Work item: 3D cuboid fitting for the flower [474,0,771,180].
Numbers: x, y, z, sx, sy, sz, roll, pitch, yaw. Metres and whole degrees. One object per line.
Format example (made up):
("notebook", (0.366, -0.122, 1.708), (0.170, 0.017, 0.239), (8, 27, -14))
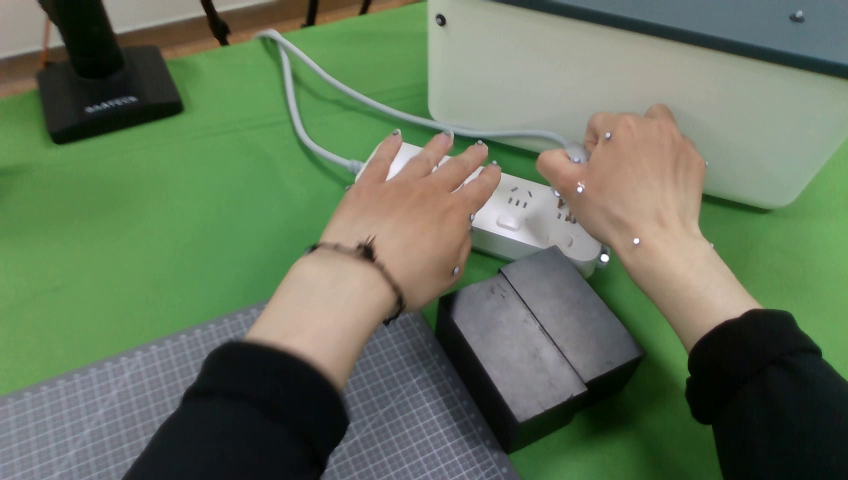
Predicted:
("flower", (0.197, -0.167, 0.635), (0.359, 0.038, 0.044), (40, 82, 18))

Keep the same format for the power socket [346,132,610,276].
("power socket", (0.046, -0.033, 0.506), (0.226, 0.033, 0.072), (19, 51, 12))

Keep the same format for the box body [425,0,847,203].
("box body", (0.200, -0.203, 0.573), (0.363, 0.162, 0.252), (16, 51, 9))

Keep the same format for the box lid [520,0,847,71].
("box lid", (0.205, -0.249, 0.515), (0.370, 0.015, 0.261), (16, 52, 9))

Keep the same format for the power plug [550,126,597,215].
("power plug", (0.122, -0.055, 0.489), (0.035, 0.053, 0.072), (15, 33, 11))
